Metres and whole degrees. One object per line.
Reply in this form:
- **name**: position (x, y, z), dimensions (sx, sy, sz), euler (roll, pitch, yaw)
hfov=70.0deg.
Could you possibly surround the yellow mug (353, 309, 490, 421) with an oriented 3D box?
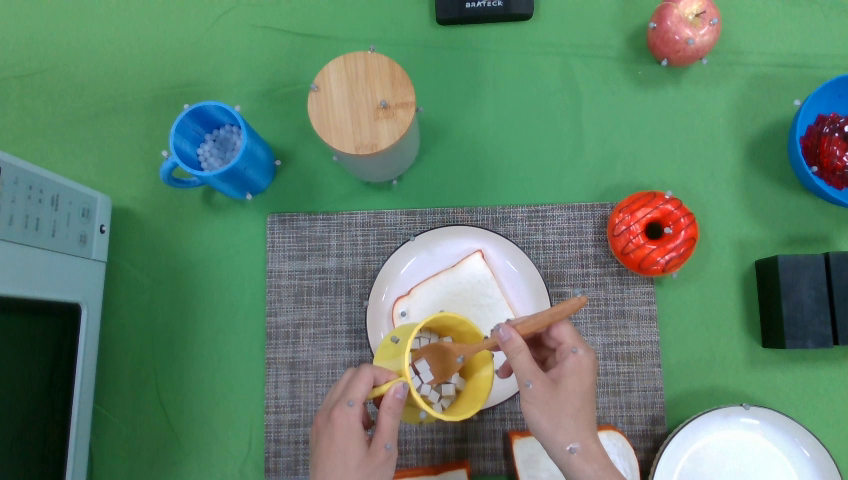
- **yellow mug**: position (-0.007, 0.124, 0.572), dimensions (0.131, 0.064, 0.099), euler (-14, 82, -36)

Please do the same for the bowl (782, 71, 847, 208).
- **bowl**: position (0.465, -0.102, 0.675), dimensions (0.151, 0.077, 0.151), euler (0, 82, 2)

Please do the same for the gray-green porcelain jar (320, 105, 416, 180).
- **gray-green porcelain jar**: position (-0.062, -0.128, 0.672), dimensions (0.106, 0.127, 0.105), euler (0, 82, 2)

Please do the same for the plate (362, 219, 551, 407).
- **plate**: position (0.036, 0.082, 0.681), dimensions (0.207, 0.039, 0.207), euler (0, 83, 2)

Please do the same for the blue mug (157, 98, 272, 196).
- **blue mug**: position (-0.241, -0.094, 0.683), dimensions (0.116, 0.106, 0.082), euler (-27, 82, -2)

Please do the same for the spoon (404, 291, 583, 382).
- **spoon**: position (0.058, 0.089, 0.545), dimensions (0.193, 0.021, 0.042), euler (-28, 100, 34)

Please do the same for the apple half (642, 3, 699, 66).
- **apple half**: position (0.274, -0.227, 0.700), dimensions (0.033, 0.081, 0.081), euler (-34, 82, -8)

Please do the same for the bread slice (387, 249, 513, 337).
- **bread slice**: position (0.026, 0.084, 0.683), dimensions (0.131, 0.019, 0.104), euler (-28, 82, -4)

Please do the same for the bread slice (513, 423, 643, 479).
- **bread slice**: position (0.166, 0.251, 0.631), dimensions (0.135, 0.018, 0.106), euler (-7, 78, -19)

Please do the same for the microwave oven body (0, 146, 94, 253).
- **microwave oven body**: position (-0.542, 0.133, 0.580), dimensions (0.326, 0.261, 0.440), euler (1, 83, 2)

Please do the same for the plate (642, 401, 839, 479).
- **plate**: position (0.333, 0.276, 0.649), dimensions (0.209, 0.038, 0.208), euler (0, 82, 2)

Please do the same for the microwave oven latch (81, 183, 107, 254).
- **microwave oven latch**: position (-0.385, -0.024, 0.693), dimensions (0.030, 0.029, 0.079), euler (3, 83, 2)

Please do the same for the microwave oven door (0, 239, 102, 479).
- **microwave oven door**: position (-0.398, 0.178, 0.564), dimensions (0.039, 0.244, 0.354), euler (1, 82, 2)

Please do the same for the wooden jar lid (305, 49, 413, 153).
- **wooden jar lid**: position (-0.065, -0.138, 0.610), dimensions (0.108, 0.021, 0.108), euler (0, 80, 2)

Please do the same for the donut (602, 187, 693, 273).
- **donut**: position (0.251, -0.011, 0.683), dimensions (0.099, 0.048, 0.099), euler (0, 83, 2)

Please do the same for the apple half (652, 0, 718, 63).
- **apple half**: position (0.305, -0.250, 0.703), dimensions (0.053, 0.075, 0.080), euler (-34, 78, -8)
